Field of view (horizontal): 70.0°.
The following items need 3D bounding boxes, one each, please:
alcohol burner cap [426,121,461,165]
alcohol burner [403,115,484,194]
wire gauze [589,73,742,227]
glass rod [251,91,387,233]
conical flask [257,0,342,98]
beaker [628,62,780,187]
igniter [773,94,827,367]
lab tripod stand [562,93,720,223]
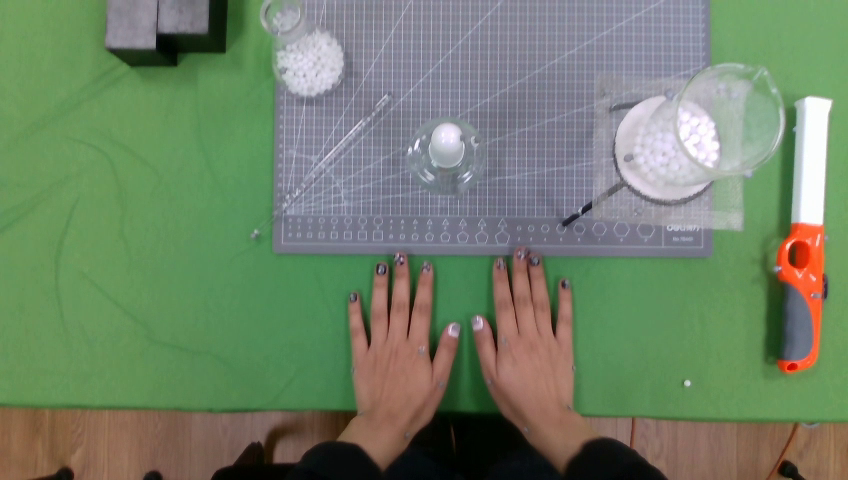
[{"bbox_3d":[0.018,-0.088,0.534,0.034,0.048,0.033,0,80,0],"label":"alcohol burner cap"},{"bbox_3d":[0.018,-0.084,0.570,0.078,0.119,0.078,0,87,2],"label":"alcohol burner"},{"bbox_3d":[0.197,-0.074,0.494,0.125,0.011,0.121,3,90,-1],"label":"wire gauze"},{"bbox_3d":[-0.107,-0.081,0.621,0.008,0.008,0.199,43,88,2],"label":"glass rod"},{"bbox_3d":[-0.122,-0.186,0.570,0.075,0.122,0.075,0,87,0],"label":"conical flask"},{"bbox_3d":[0.200,-0.081,0.447,0.074,0.100,0.084,36,89,1],"label":"beaker"},{"bbox_3d":[0.382,-0.009,0.613,0.057,0.025,0.276,5,88,-10],"label":"igniter"},{"bbox_3d":[0.197,-0.069,0.560,0.148,0.131,0.148,0,89,0],"label":"lab tripod stand"}]
